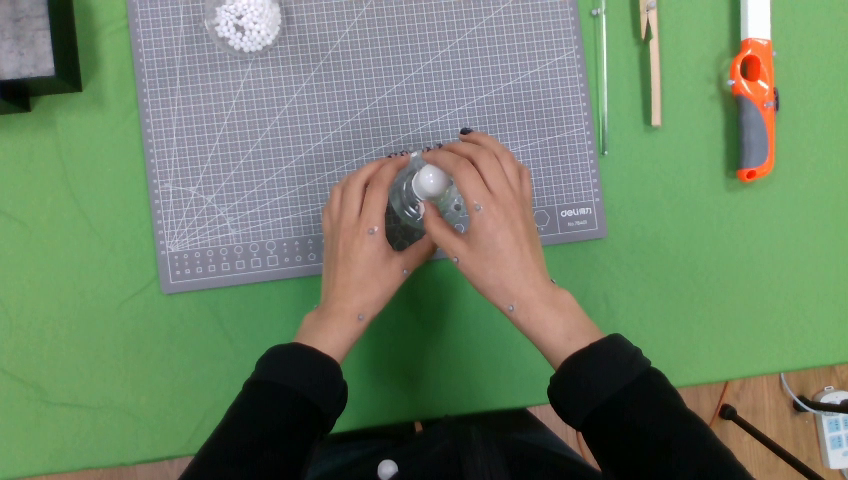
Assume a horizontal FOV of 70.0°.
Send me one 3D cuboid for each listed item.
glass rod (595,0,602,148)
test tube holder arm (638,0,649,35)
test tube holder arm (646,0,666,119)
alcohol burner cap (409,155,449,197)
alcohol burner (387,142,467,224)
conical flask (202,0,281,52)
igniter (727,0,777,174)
[{"bbox_3d":[0.182,-0.195,0.631,0.008,0.008,0.199,-1,91,-5],"label":"glass rod"},{"bbox_3d":[0.228,-0.260,0.633,0.010,0.015,0.088,-5,90,32],"label":"test tube holder arm"},{"bbox_3d":[0.238,-0.215,0.629,0.013,0.015,0.178,-7,89,32],"label":"test tube holder arm"},{"bbox_3d":[0.007,-0.058,0.523,0.034,0.048,0.034,1,85,-9],"label":"alcohol burner cap"},{"bbox_3d":[0.003,-0.055,0.559,0.078,0.119,0.078,0,87,-2],"label":"alcohol burner"},{"bbox_3d":[-0.174,-0.224,0.543,0.075,0.122,0.075,0,88,-4],"label":"conical flask"},{"bbox_3d":[0.344,-0.207,0.635,0.057,0.025,0.276,1,89,-15],"label":"igniter"}]
